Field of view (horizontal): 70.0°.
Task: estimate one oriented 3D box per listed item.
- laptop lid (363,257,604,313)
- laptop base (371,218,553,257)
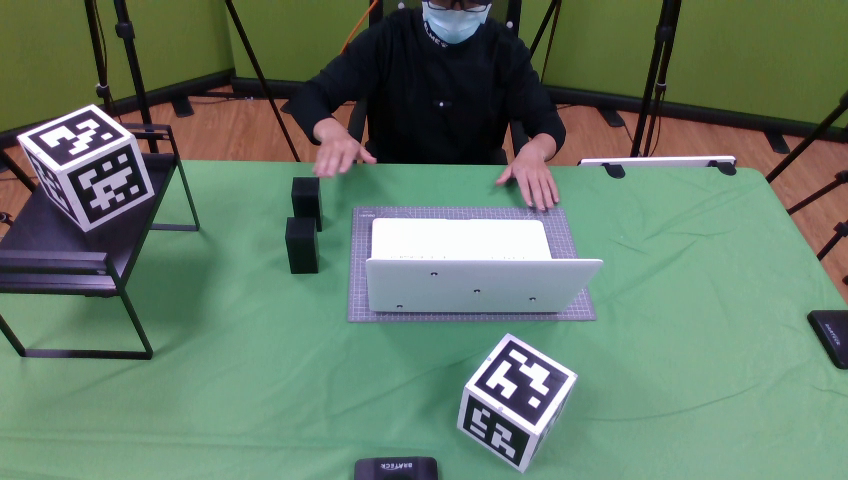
[{"bbox_3d":[0.084,0.076,0.972,0.357,0.242,0.013,1,65,-5],"label":"laptop lid"},{"bbox_3d":[0.074,0.044,1.159,0.354,0.023,0.234,0,43,-3],"label":"laptop base"}]
